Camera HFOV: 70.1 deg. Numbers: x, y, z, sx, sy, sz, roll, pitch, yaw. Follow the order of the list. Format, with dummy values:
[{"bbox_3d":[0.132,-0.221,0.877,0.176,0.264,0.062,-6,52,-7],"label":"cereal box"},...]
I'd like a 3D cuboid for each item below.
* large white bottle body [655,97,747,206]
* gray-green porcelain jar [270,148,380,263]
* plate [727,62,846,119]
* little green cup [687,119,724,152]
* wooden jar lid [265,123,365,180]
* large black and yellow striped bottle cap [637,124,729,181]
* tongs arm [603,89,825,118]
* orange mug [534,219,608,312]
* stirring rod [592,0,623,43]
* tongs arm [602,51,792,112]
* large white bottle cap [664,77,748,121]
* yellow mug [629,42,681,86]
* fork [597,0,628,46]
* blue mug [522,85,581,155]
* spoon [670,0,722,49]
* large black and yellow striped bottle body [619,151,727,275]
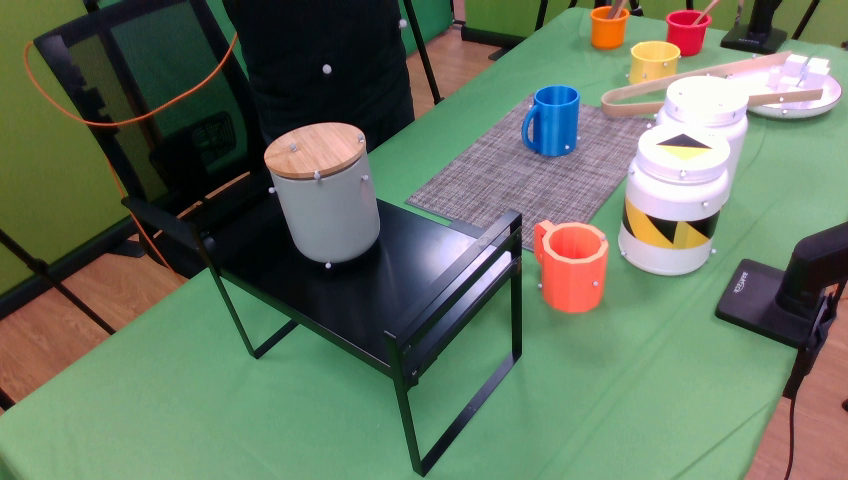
[{"bbox_3d":[0.430,-0.148,0.959,0.130,0.185,0.130,-4,41,4],"label":"large white bottle body"},{"bbox_3d":[-0.109,-0.045,0.692,0.106,0.127,0.105,-4,40,4],"label":"gray-green porcelain jar"},{"bbox_3d":[0.709,-0.292,1.197,0.207,0.039,0.206,-4,40,4],"label":"plate"},{"bbox_3d":[0.514,-0.191,1.109,0.061,0.039,0.061,-5,40,5],"label":"little green cup"},{"bbox_3d":[-0.115,-0.092,0.651,0.108,0.021,0.108,-4,38,4],"label":"wooden jar lid"},{"bbox_3d":[0.346,-0.119,0.810,0.115,0.019,0.114,-5,41,5],"label":"large black and yellow striped bottle cap"},{"bbox_3d":[0.546,-0.262,1.163,0.386,0.028,0.028,-1,49,18],"label":"tongs arm"},{"bbox_3d":[0.200,0.027,0.858,0.084,0.101,0.125,-24,47,-18],"label":"orange mug"},{"bbox_3d":[0.460,-0.557,1.462,0.014,0.176,0.006,35,11,23],"label":"stirring rod"},{"bbox_3d":[0.552,-0.320,1.224,0.384,0.027,0.050,-10,43,7],"label":"tongs arm"},{"bbox_3d":[0.421,-0.212,0.905,0.115,0.018,0.114,-4,40,4],"label":"large white bottle cap"},{"bbox_3d":[0.495,-0.389,1.321,0.100,0.064,0.130,-14,40,-6],"label":"yellow mug"},{"bbox_3d":[0.479,-0.558,1.455,0.028,0.019,0.207,36,100,38],"label":"fork"},{"bbox_3d":[0.233,-0.218,1.127,0.117,0.106,0.081,-23,43,-16],"label":"blue mug"},{"bbox_3d":[0.639,-0.510,1.380,0.193,0.022,0.041,-49,40,19],"label":"spoon"},{"bbox_3d":[0.354,-0.056,0.865,0.131,0.185,0.130,-4,41,4],"label":"large black and yellow striped bottle body"}]
